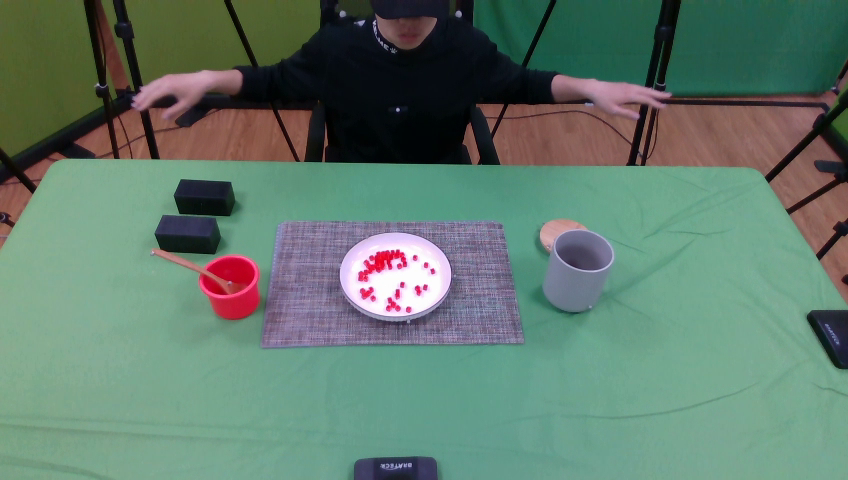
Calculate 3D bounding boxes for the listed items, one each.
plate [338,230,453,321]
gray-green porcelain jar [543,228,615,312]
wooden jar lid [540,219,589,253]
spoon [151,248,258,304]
[{"bbox_3d":[-0.051,0.068,1.111,0.208,0.039,0.206,2,46,-2],"label":"plate"},{"bbox_3d":[0.273,0.059,1.086,0.106,0.127,0.105,2,46,-2],"label":"gray-green porcelain jar"},{"bbox_3d":[0.286,0.001,1.218,0.108,0.021,0.107,1,46,-1],"label":"wooden jar lid"},{"bbox_3d":[-0.369,0.058,1.028,0.195,0.021,0.041,36,35,-32],"label":"spoon"}]
